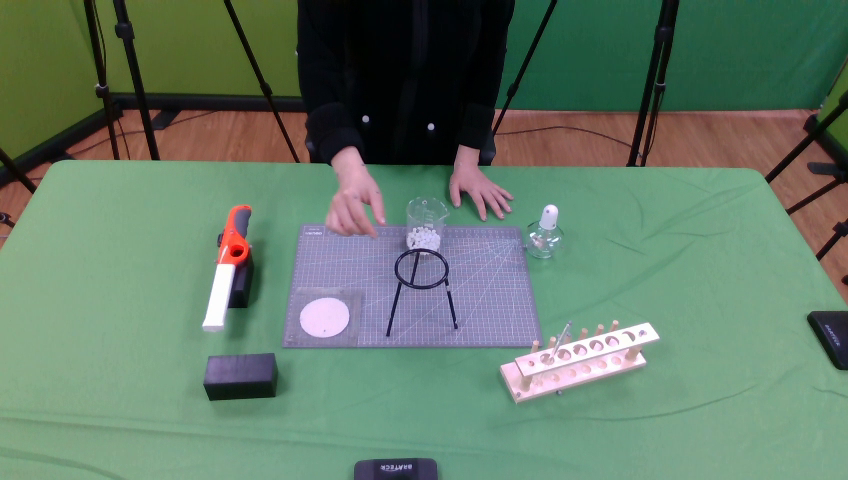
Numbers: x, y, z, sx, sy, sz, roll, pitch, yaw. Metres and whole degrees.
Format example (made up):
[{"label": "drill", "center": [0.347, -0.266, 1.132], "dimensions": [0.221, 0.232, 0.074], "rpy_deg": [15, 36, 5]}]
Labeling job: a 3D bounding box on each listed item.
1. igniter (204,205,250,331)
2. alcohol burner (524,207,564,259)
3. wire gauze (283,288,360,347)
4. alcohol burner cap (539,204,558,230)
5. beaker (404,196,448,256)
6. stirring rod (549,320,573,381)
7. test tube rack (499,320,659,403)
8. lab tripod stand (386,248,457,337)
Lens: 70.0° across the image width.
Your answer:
[{"label": "igniter", "center": [-0.344, 0.039, 1.065], "dimensions": [0.057, 0.025, 0.274], "rpy_deg": [2, 48, -6]}, {"label": "alcohol burner", "center": [0.236, -0.021, 1.174], "dimensions": [0.078, 0.120, 0.077], "rpy_deg": [1, 48, -1]}, {"label": "wire gauze", "center": [-0.178, 0.132, 1.063], "dimensions": [0.125, 0.011, 0.120], "rpy_deg": [2, 46, 1]}, {"label": "alcohol burner cap", "center": [0.239, -0.045, 1.148], "dimensions": [0.034, 0.048, 0.033], "rpy_deg": [1, 42, -1]}, {"label": "beaker", "center": [0.001, -0.024, 1.164], "dimensions": [0.084, 0.101, 0.073], "rpy_deg": [6, 46, 0]}, {"label": "stirring rod", "center": [0.202, 0.167, 0.901], "dimensions": [0.006, 0.177, 0.014], "rpy_deg": [-17, 55, -11]}, {"label": "test tube rack", "center": [0.252, 0.187, 0.994], "dimensions": [0.243, 0.085, 0.066], "rpy_deg": [-12, 48, -15]}, {"label": "lab tripod stand", "center": [-0.010, 0.087, 1.032], "dimensions": [0.148, 0.132, 0.147], "rpy_deg": [1, 45, -1]}]
